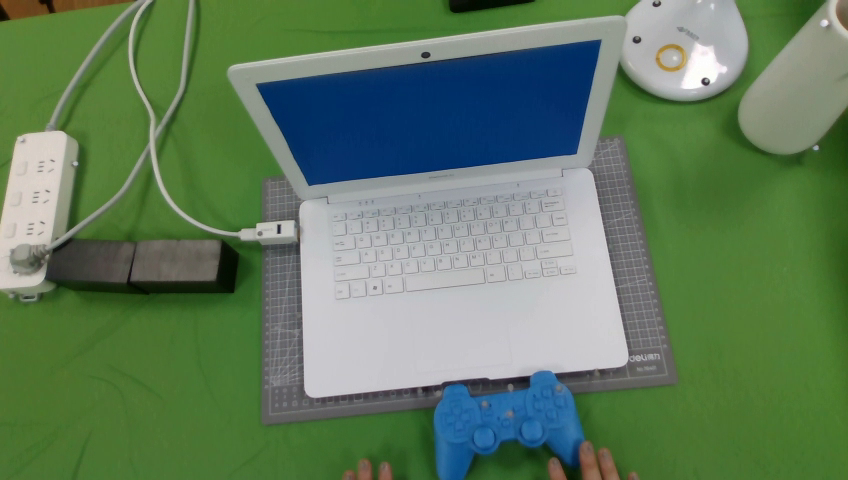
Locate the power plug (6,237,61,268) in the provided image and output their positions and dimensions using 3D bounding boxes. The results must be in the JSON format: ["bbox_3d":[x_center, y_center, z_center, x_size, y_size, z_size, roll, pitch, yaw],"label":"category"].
[{"bbox_3d":[-0.451,0.018,0.708,0.072,0.053,0.035,8,71,6],"label":"power plug"}]

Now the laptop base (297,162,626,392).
[{"bbox_3d":[0.033,0.038,0.691,0.354,0.023,0.234,-6,75,2],"label":"laptop base"}]

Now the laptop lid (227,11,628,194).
[{"bbox_3d":[0.010,-0.125,0.621,0.356,0.243,0.013,-7,64,4],"label":"laptop lid"}]

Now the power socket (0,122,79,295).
[{"bbox_3d":[-0.482,-0.045,0.753,0.072,0.033,0.225,-3,71,3],"label":"power socket"}]

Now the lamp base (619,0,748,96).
[{"bbox_3d":[0.321,-0.287,0.691,0.160,0.181,0.178,26,73,13],"label":"lamp base"}]

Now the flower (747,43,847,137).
[{"bbox_3d":[0.421,-0.205,0.558,0.038,0.363,0.043,7,62,-10],"label":"flower"}]

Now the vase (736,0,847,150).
[{"bbox_3d":[0.409,-0.177,0.637,0.098,0.201,0.097,-2,70,6],"label":"vase"}]

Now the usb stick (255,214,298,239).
[{"bbox_3d":[-0.166,-0.016,0.711,0.059,0.027,0.021,-3,70,-2],"label":"usb stick"}]

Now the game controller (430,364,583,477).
[{"bbox_3d":[0.081,0.184,0.624,0.155,0.052,0.096,-9,70,1],"label":"game controller"}]
